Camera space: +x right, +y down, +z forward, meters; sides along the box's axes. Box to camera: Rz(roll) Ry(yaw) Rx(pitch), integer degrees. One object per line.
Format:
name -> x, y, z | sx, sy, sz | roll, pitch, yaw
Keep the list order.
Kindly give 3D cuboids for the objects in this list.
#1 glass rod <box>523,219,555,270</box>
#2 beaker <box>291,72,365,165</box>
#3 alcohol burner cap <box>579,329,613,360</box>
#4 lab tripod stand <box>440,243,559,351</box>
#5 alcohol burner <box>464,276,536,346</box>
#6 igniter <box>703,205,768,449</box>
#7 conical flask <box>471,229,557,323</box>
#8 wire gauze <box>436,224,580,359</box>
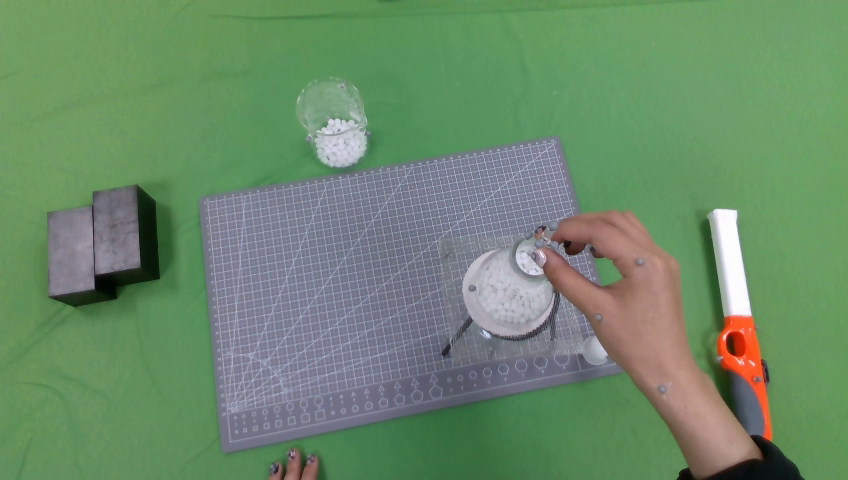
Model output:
glass rod -> 0.086, 0.008, 0.471 | 0.008, 0.200, 0.008 | -1, 79, 5
beaker -> -0.105, -0.137, 0.712 | 0.084, 0.101, 0.074 | 24, 75, 6
alcohol burner cap -> 0.192, 0.114, 0.668 | 0.034, 0.048, 0.033 | 0, 73, 0
lab tripod stand -> 0.080, 0.068, 0.632 | 0.148, 0.132, 0.147 | 0, 75, 0
alcohol burner -> 0.082, 0.072, 0.642 | 0.078, 0.120, 0.077 | 0, 73, 2
igniter -> 0.352, 0.092, 0.687 | 0.057, 0.025, 0.275 | 3, 73, -10
conical flask -> 0.082, 0.026, 0.514 | 0.075, 0.122, 0.075 | 0, 75, -1
wire gauze -> 0.078, 0.047, 0.570 | 0.125, 0.011, 0.121 | -4, 76, -4
